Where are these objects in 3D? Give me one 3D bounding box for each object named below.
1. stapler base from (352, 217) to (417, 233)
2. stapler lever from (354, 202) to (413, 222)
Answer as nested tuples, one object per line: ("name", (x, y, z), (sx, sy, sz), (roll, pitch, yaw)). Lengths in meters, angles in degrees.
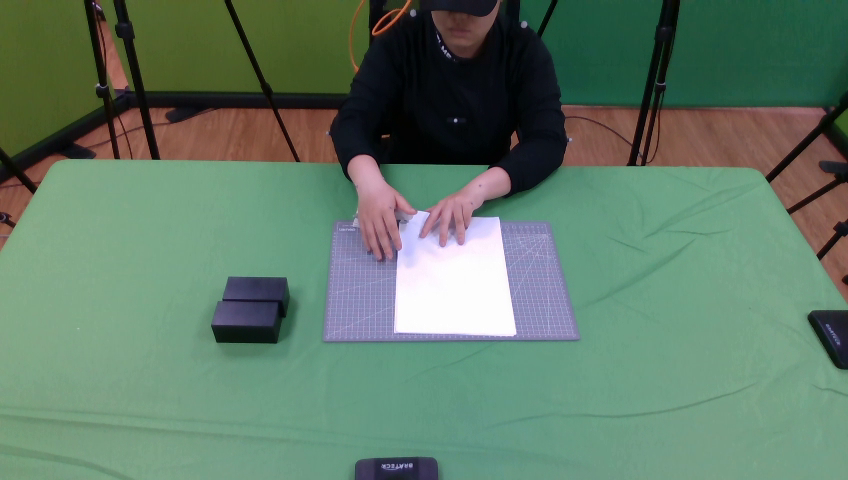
("stapler base", (-0.079, -0.041, 1.226), (0.130, 0.024, 0.041), (6, 42, 3))
("stapler lever", (-0.080, -0.058, 1.208), (0.118, 0.040, 0.026), (6, 42, 3))
